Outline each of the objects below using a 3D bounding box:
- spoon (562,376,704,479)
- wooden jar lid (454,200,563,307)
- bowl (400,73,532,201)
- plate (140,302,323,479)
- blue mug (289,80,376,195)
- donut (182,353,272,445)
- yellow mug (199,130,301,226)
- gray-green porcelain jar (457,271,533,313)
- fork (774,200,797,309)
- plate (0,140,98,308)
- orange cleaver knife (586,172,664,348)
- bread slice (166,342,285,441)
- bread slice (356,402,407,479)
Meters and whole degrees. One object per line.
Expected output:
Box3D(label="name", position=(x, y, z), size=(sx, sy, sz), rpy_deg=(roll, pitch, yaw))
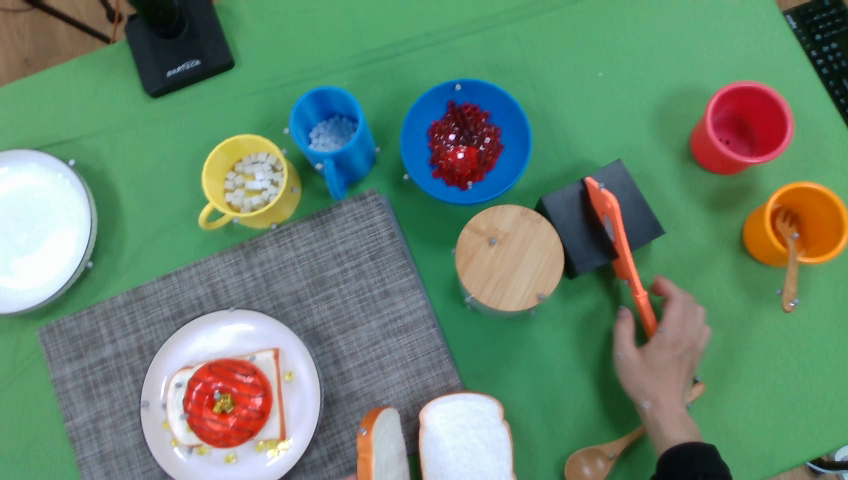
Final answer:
Box3D(label="spoon", position=(0.238, 0.210, 0.681), size=(0.194, 0.022, 0.041), rpy_deg=(-33, 64, -3))
Box3D(label="wooden jar lid", position=(0.084, 0.014, 0.606), size=(0.108, 0.021, 0.108), rpy_deg=(0, 82, 0))
Box3D(label="bowl", position=(0.049, -0.111, 0.718), size=(0.151, 0.077, 0.151), rpy_deg=(0, 80, 3))
Box3D(label="plate", position=(-0.216, 0.176, 0.695), size=(0.209, 0.038, 0.208), rpy_deg=(0, 80, 3))
Box3D(label="blue mug", position=(-0.104, -0.111, 0.711), size=(0.082, 0.106, 0.116), rpy_deg=(-2, 80, 3))
Box3D(label="donut", position=(-0.216, 0.174, 0.667), size=(0.099, 0.048, 0.098), rpy_deg=(0, 81, -1))
Box3D(label="yellow mug", position=(-0.216, -0.064, 0.727), size=(0.131, 0.064, 0.099), rpy_deg=(-43, 80, -4))
Box3D(label="gray-green porcelain jar", position=(0.088, 0.026, 0.668), size=(0.106, 0.127, 0.105), rpy_deg=(0, 79, 2))
Box3D(label="fork", position=(0.387, 0.011, 0.645), size=(0.028, 0.019, 0.207), rpy_deg=(40, 40, 2))
Box3D(label="plate", position=(-0.499, -0.019, 0.746), size=(0.207, 0.039, 0.207), rpy_deg=(0, 80, 2))
Box3D(label="orange cleaver knife", position=(0.225, 0.023, 0.684), size=(0.012, 0.076, 0.212), rpy_deg=(-24, 106, -1))
Box3D(label="bread slice", position=(-0.229, 0.180, 0.698), size=(0.131, 0.019, 0.104), rpy_deg=(-9, 79, -3))
Box3D(label="bread slice", position=(-0.041, 0.241, 0.640), size=(0.018, 0.107, 0.134), rpy_deg=(-9, 81, 14))
